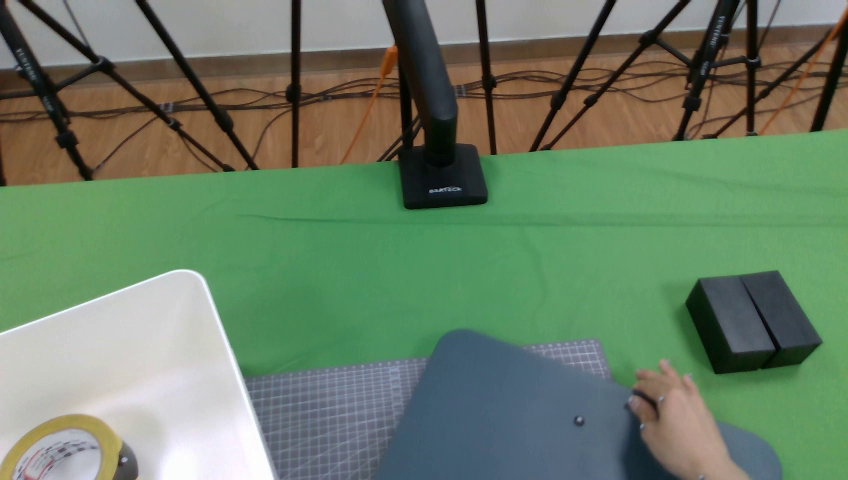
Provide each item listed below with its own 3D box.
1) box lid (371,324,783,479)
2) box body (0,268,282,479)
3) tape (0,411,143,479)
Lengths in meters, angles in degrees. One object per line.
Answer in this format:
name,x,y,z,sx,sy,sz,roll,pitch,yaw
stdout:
box lid,0.146,0.242,0.579,0.370,0.015,0.262,19,54,12
box body,-0.318,0.218,0.522,0.364,0.162,0.251,-21,55,-17
tape,-0.338,0.226,0.578,0.117,0.053,0.115,0,50,0
